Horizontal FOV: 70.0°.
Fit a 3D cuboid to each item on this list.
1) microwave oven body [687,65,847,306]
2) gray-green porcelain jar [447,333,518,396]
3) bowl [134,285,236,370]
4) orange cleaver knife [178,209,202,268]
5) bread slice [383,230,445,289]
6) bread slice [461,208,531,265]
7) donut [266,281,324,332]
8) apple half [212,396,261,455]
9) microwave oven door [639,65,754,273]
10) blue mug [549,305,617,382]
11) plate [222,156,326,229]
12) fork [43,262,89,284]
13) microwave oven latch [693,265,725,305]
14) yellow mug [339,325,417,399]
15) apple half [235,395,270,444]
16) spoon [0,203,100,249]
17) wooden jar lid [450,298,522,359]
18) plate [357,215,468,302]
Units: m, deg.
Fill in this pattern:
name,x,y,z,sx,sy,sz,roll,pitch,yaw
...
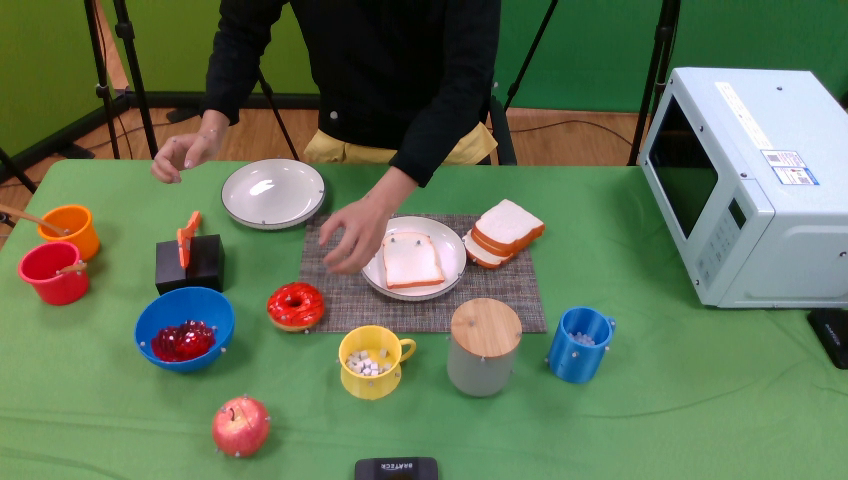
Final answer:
name,x,y,z,sx,sy,sz,roll,pitch,yaw
microwave oven body,0.669,-0.111,1.176,0.326,0.261,0.439,0,46,-3
gray-green porcelain jar,0.091,0.178,0.960,0.106,0.127,0.105,2,46,-2
bowl,-0.377,0.155,0.981,0.151,0.077,0.150,2,46,-2
orange cleaver knife,-0.432,-0.006,1.127,0.012,0.077,0.210,-6,18,-10
bread slice,-0.028,0.035,1.145,0.107,0.018,0.133,-8,48,-11
bread slice,0.133,-0.004,1.194,0.104,0.019,0.131,30,50,24
donut,-0.222,0.115,1.049,0.099,0.048,0.098,2,45,-2
apple half,-0.276,0.276,0.877,0.053,0.075,0.080,-29,58,-21
microwave oven door,0.522,-0.147,1.192,0.039,0.245,0.353,0,47,-3
blue mug,0.269,0.166,0.998,0.116,0.106,0.082,-19,51,-21
plate,-0.307,-0.095,1.251,0.209,0.038,0.208,2,46,-2
fork,-0.599,0.053,1.013,0.207,0.019,0.028,-14,30,45
microwave oven latch,0.522,0.081,1.115,0.030,0.029,0.078,2,46,-1
yellow mug,-0.072,0.190,0.978,0.131,0.064,0.099,-17,50,-20
apple half,-0.245,0.259,0.893,0.033,0.082,0.081,-29,55,-22
spoon,-0.683,-0.031,1.088,0.021,0.195,0.041,-35,43,25
wooden jar lid,0.093,0.135,0.914,0.108,0.021,0.107,2,48,-3
plate,-0.022,0.037,1.141,0.208,0.039,0.206,2,46,-2
